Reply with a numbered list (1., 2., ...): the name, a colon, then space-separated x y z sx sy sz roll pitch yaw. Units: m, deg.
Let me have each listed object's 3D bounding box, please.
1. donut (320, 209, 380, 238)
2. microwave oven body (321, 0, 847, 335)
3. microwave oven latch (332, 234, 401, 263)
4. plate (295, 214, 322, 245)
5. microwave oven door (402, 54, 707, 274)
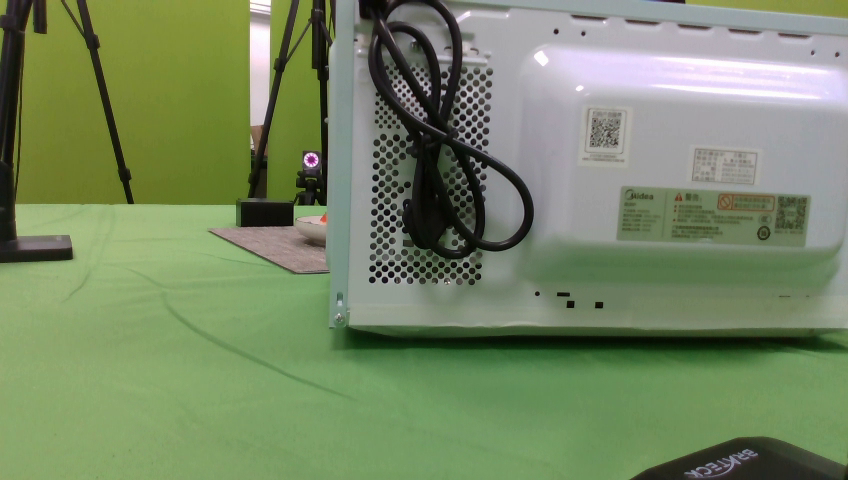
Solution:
1. donut: -0.121 -0.027 0.996 0.099 0.048 0.099 2 4 0
2. microwave oven body: 0.133 -0.062 0.568 0.443 0.260 0.325 2 7 -8
3. microwave oven latch: -0.066 0.010 0.701 0.079 0.029 0.030 2 7 -8
4. plate: -0.107 -0.015 0.997 0.209 0.038 0.209 2 7 0
5. microwave oven door: 0.157 -0.085 0.717 0.357 0.243 0.039 1 8 -8
